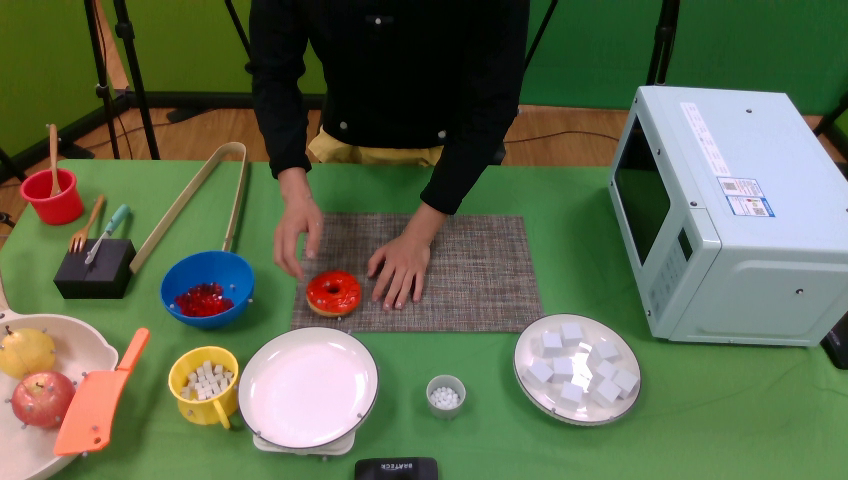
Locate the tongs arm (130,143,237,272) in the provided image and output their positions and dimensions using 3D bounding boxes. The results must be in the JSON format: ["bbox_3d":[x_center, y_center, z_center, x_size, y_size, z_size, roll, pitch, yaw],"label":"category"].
[{"bbox_3d":[-0.482,-0.080,1.234,0.028,0.028,0.385,7,45,12],"label":"tongs arm"}]

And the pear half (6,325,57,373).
[{"bbox_3d":[-0.607,0.158,0.935,0.076,0.110,0.056,30,51,19],"label":"pear half"}]

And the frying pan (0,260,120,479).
[{"bbox_3d":[-0.647,0.164,0.936,0.307,0.103,0.485,-19,58,-22],"label":"frying pan"}]

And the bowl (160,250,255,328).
[{"bbox_3d":[-0.362,0.098,1.040,0.151,0.077,0.150,2,45,-2],"label":"bowl"}]

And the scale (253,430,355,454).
[{"bbox_3d":[-0.175,0.236,0.951,0.149,0.032,0.199,4,46,0],"label":"scale"}]

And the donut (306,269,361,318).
[{"bbox_3d":[-0.160,0.094,1.075,0.099,0.048,0.098,3,46,-3],"label":"donut"}]

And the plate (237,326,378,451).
[{"bbox_3d":[-0.174,0.224,0.917,0.209,0.038,0.208,2,46,-2],"label":"plate"}]

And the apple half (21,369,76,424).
[{"bbox_3d":[-0.546,0.226,0.898,0.080,0.075,0.053,30,48,27],"label":"apple half"}]

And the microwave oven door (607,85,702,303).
[{"bbox_3d":[0.423,-0.094,1.140,0.039,0.245,0.353,2,46,-1],"label":"microwave oven door"}]

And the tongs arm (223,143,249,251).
[{"bbox_3d":[-0.397,-0.073,1.232,0.051,0.026,0.382,-1,45,-1],"label":"tongs arm"}]

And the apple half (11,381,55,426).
[{"bbox_3d":[-0.570,0.246,0.875,0.081,0.081,0.033,32,49,24],"label":"apple half"}]

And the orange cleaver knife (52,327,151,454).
[{"bbox_3d":[-0.462,0.212,0.879,0.077,0.012,0.210,7,45,-2],"label":"orange cleaver knife"}]

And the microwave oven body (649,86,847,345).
[{"bbox_3d":[0.567,-0.053,1.118,0.326,0.261,0.439,2,45,-1],"label":"microwave oven body"}]

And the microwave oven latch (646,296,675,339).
[{"bbox_3d":[0.412,0.134,1.061,0.030,0.029,0.078,4,45,1],"label":"microwave oven latch"}]

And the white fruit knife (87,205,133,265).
[{"bbox_3d":[-0.584,-0.013,1.129,0.016,0.027,0.206,0,31,-5],"label":"white fruit knife"}]

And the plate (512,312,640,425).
[{"bbox_3d":[0.246,0.213,0.999,0.208,0.039,0.206,2,46,-2],"label":"plate"}]

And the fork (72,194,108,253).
[{"bbox_3d":[-0.634,-0.036,1.158,0.028,0.019,0.206,-8,32,-8],"label":"fork"}]

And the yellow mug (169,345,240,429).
[{"bbox_3d":[-0.323,0.230,0.922,0.100,0.064,0.130,-24,53,-25],"label":"yellow mug"}]

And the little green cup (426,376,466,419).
[{"bbox_3d":[0.033,0.248,0.950,0.061,0.039,0.061,2,46,-2],"label":"little green cup"}]

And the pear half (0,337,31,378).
[{"bbox_3d":[-0.631,0.183,0.923,0.070,0.088,0.031,28,50,14],"label":"pear half"}]

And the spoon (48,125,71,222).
[{"bbox_3d":[-0.718,-0.131,1.189,0.041,0.021,0.193,-3,90,-7],"label":"spoon"}]
